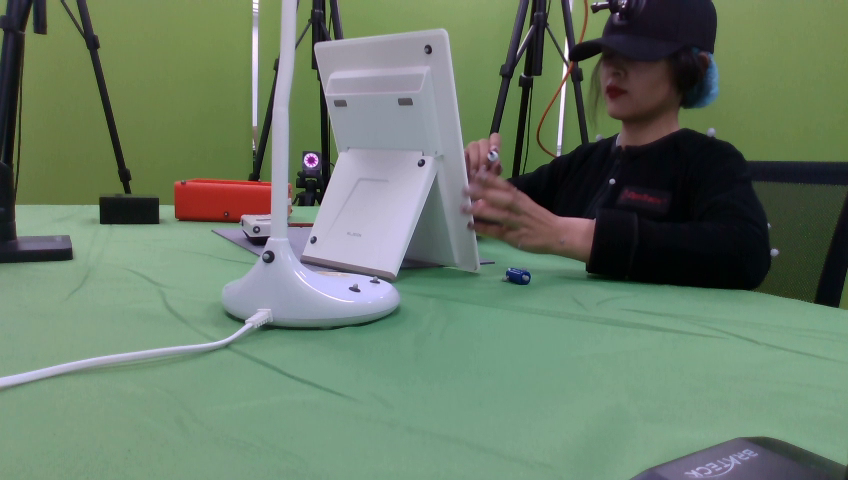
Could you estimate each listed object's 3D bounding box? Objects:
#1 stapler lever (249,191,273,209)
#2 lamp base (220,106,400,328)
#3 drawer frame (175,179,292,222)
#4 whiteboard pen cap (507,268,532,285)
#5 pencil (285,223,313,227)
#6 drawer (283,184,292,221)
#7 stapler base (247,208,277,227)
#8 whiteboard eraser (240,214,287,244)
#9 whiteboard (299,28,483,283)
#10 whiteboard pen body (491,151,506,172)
[{"bbox_3d":[-0.351,-0.086,1.306,0.027,0.040,0.118,0,5,-3],"label":"stapler lever"},{"bbox_3d":[-0.101,-0.023,0.531,0.160,0.180,0.179,4,10,10],"label":"lamp base"},{"bbox_3d":[-0.402,-0.087,1.311,0.214,0.082,0.201,1,8,-9],"label":"drawer frame"},{"bbox_3d":[0.113,0.043,0.726,0.018,0.018,0.033,-2,9,-28],"label":"whiteboard pen cap"},{"bbox_3d":[-0.234,-0.030,1.198,0.195,0.012,0.012,0,8,-20],"label":"pencil"},{"bbox_3d":[-0.397,-0.086,1.314,0.212,0.073,0.194,1,8,-9],"label":"drawer"},{"bbox_3d":[-0.350,-0.054,1.310,0.041,0.024,0.130,0,13,-3],"label":"stapler base"},{"bbox_3d":[-0.256,-0.018,0.958,0.056,0.042,0.112,0,8,-25],"label":"whiteboard eraser"},{"bbox_3d":[-0.075,-0.082,0.741,0.216,0.305,0.144,9,30,38],"label":"whiteboard"},{"bbox_3d":[0.122,-0.131,0.998,0.017,0.017,0.141,4,-2,12],"label":"whiteboard pen body"}]
